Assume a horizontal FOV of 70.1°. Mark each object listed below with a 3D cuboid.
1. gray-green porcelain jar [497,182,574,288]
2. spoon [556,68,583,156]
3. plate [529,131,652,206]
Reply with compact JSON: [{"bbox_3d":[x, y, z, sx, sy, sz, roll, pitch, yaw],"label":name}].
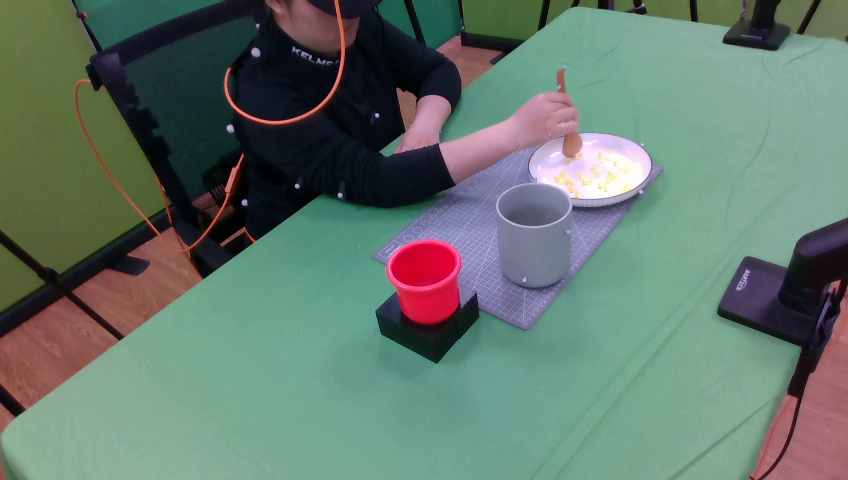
[{"bbox_3d":[0.160,-0.003,0.869,0.106,0.127,0.105,-5,40,5],"label":"gray-green porcelain jar"},{"bbox_3d":[0.246,-0.216,1.042,0.041,0.195,0.021,-26,44,1],"label":"spoon"},{"bbox_3d":[0.287,-0.121,1.056,0.207,0.039,0.206,-5,40,5],"label":"plate"}]
